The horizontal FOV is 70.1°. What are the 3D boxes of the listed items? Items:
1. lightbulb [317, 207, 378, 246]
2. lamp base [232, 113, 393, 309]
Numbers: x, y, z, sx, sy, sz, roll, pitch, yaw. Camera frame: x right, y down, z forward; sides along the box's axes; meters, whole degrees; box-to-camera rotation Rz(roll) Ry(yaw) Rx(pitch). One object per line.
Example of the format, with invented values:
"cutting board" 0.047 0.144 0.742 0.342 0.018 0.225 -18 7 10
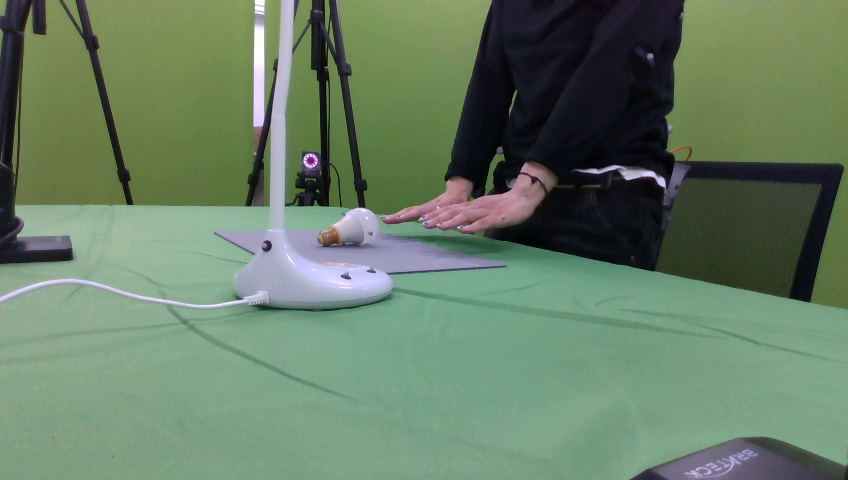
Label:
"lightbulb" -0.123 -0.016 0.968 0.108 0.059 0.059 -21 20 -33
"lamp base" -0.113 -0.032 0.595 0.160 0.180 0.179 4 10 17
